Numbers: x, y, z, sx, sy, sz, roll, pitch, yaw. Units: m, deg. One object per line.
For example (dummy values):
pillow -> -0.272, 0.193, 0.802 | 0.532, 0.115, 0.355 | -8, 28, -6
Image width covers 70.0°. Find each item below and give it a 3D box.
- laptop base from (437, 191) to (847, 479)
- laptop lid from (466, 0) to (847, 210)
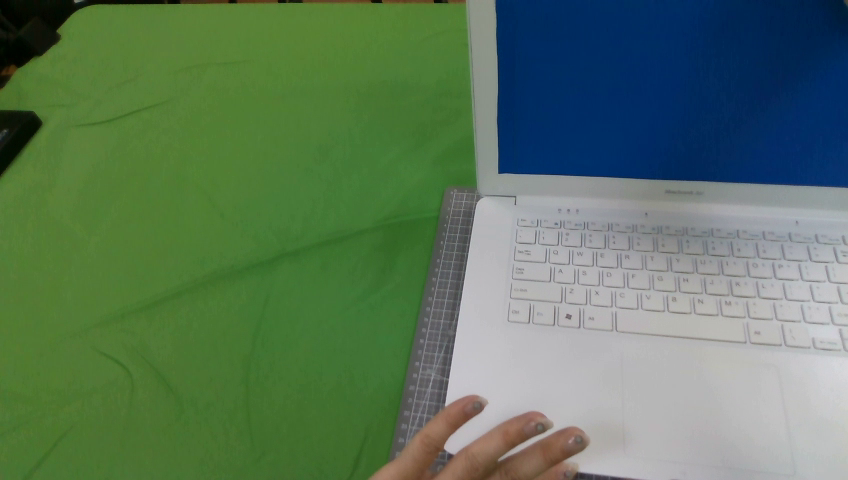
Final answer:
laptop base -> 0.200, 0.064, 0.457 | 0.353, 0.023, 0.233 | 4, 56, 11
laptop lid -> 0.208, -0.110, 0.436 | 0.356, 0.244, 0.013 | 3, 49, 12
